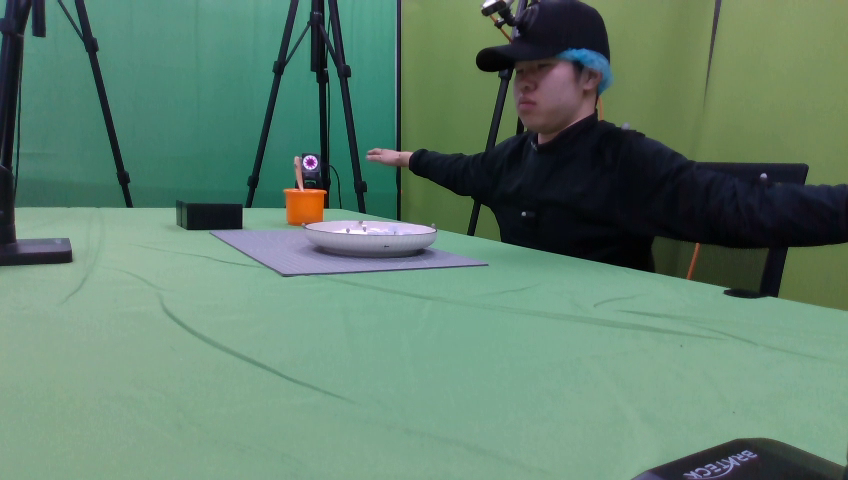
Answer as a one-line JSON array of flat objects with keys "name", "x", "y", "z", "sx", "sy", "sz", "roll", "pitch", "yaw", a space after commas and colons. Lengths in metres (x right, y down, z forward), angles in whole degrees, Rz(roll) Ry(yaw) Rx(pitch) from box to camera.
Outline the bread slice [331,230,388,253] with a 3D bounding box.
[{"name": "bread slice", "x": -0.088, "y": 0.000, "z": 0.947, "sx": 0.105, "sy": 0.019, "sz": 0.131, "roll": -4, "pitch": 11, "yaw": -44}]

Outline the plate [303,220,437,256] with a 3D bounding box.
[{"name": "plate", "x": -0.084, "y": -0.003, "z": 0.951, "sx": 0.209, "sy": 0.038, "sz": 0.209, "roll": 3, "pitch": 7, "yaw": 0}]

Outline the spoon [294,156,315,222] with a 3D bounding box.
[{"name": "spoon", "x": -0.271, "y": -0.116, "z": 1.328, "sx": 0.042, "sy": 0.021, "sz": 0.193, "roll": -1, "pitch": 48, "yaw": -21}]
